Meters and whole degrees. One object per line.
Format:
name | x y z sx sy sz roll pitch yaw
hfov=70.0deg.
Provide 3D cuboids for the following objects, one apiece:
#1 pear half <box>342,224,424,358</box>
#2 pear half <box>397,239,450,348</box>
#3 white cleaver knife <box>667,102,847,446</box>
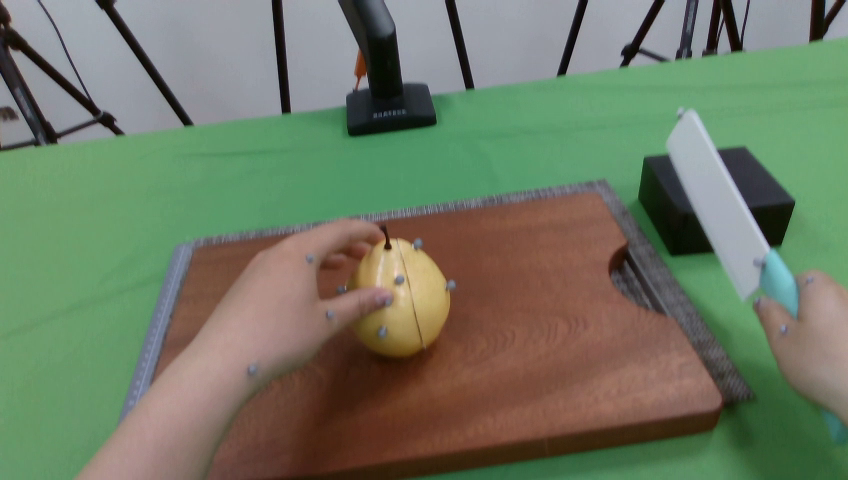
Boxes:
pear half | -0.034 0.035 0.437 0.056 0.111 0.075 -14 35 -8
pear half | 0.002 0.036 0.447 0.031 0.089 0.069 -14 31 -9
white cleaver knife | 0.248 0.012 0.461 0.021 0.066 0.283 -9 59 -2
